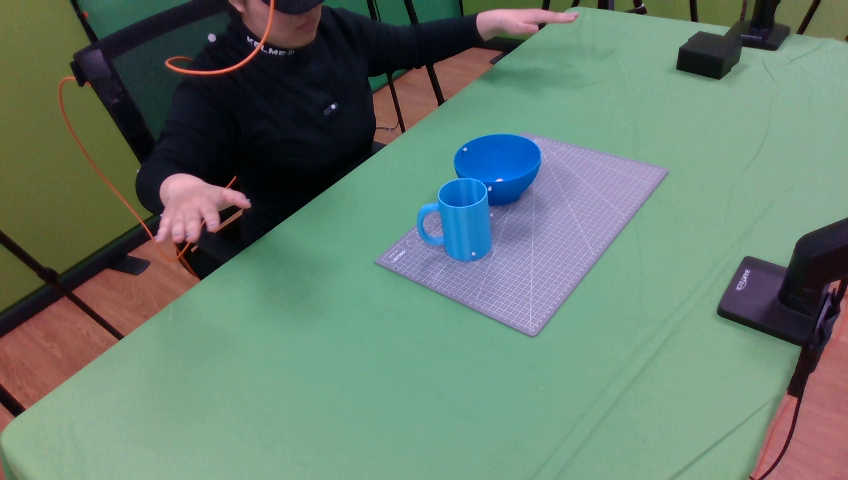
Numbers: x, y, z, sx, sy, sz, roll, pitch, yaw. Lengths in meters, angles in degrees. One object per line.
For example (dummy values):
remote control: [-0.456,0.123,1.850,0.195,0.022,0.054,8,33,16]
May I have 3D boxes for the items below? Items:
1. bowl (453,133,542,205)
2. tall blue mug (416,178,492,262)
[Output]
bowl: [0.129,-0.113,1.045,0.151,0.077,0.150,-5,40,5]
tall blue mug: [0.051,-0.025,0.930,0.107,0.108,0.077,-27,44,-20]
